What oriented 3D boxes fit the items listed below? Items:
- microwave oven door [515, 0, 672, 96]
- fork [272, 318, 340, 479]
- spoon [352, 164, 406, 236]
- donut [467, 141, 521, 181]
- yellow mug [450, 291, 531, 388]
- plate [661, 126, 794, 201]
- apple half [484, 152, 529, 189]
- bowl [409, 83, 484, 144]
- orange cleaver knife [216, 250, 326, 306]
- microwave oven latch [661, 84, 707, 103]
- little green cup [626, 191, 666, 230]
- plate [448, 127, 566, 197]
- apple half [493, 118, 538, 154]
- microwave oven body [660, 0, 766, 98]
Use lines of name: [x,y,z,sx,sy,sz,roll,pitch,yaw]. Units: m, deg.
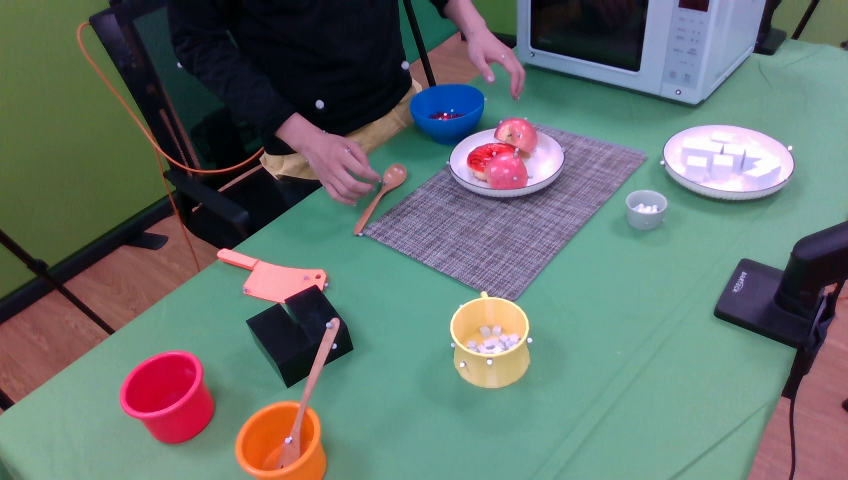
microwave oven door: [0.343,-0.454,1.259,0.353,0.245,0.039,26,51,33]
fork: [-0.131,0.186,0.676,0.028,0.019,0.207,17,90,28]
spoon: [-0.083,-0.074,1.074,0.041,0.022,0.194,21,46,10]
donut: [0.126,-0.144,1.090,0.099,0.048,0.098,-5,39,5]
yellow mug: [0.085,0.120,0.786,0.100,0.064,0.130,-7,39,1]
plate: [0.513,-0.128,1.035,0.207,0.039,0.206,-4,40,4]
apple half: [0.144,-0.117,1.032,0.081,0.033,0.081,2,78,-11]
bowl: [0.048,-0.245,1.213,0.151,0.077,0.150,-4,40,4]
orange cleaver knife: [-0.248,0.058,0.945,0.210,0.012,0.077,13,49,20]
microwave oven latch: [0.517,-0.296,1.204,0.078,0.029,0.030,27,52,35]
little green cup: [0.352,-0.046,0.963,0.061,0.039,0.061,-4,40,4]
plate: [0.150,-0.138,1.096,0.209,0.038,0.208,-4,40,4]
apple half: [0.175,-0.197,1.114,0.080,0.053,0.075,29,12,34]
microwave oven body: [0.472,-0.513,1.317,0.438,0.261,0.327,26,51,34]
